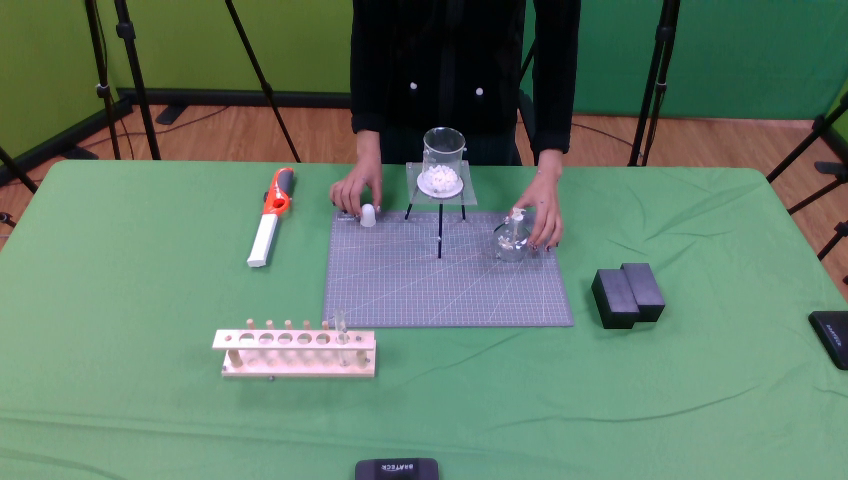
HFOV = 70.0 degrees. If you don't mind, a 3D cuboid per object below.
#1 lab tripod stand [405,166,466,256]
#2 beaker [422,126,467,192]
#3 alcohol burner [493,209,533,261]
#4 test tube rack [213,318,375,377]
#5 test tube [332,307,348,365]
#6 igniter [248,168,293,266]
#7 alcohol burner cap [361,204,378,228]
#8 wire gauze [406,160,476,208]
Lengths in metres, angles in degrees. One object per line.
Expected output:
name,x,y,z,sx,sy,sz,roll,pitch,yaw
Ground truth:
lab tripod stand,0.030,-0.063,1.180,0.148,0.132,0.147,3,47,-3
beaker,0.032,-0.146,1.100,0.074,0.101,0.083,-16,50,-20
alcohol burner,0.172,-0.016,1.158,0.078,0.119,0.077,2,48,-2
test tube rack,-0.202,0.169,0.977,0.242,0.085,0.066,1,46,-3
test tube,-0.128,0.151,0.931,0.017,0.151,0.017,1,50,-2
igniter,-0.307,-0.055,1.225,0.057,0.025,0.275,-3,46,6
alcohol burner cap,-0.113,-0.052,1.225,0.034,0.048,0.033,-1,47,2
wire gauze,0.031,-0.107,1.130,0.125,0.011,0.120,1,48,-7
